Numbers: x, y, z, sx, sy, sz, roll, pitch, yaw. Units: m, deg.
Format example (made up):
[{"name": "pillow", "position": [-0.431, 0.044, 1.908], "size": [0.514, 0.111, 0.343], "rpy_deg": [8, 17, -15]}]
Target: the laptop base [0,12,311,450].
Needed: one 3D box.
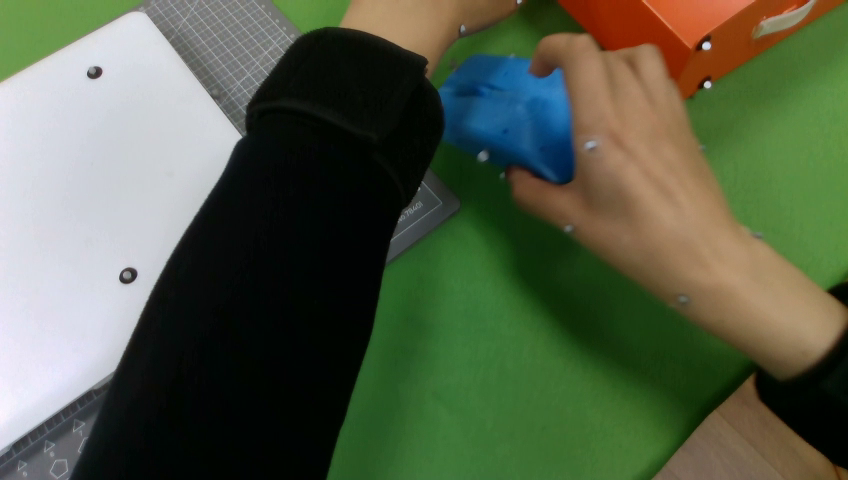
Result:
[{"name": "laptop base", "position": [-0.275, 0.014, 0.378], "size": [0.354, 0.023, 0.234], "rpy_deg": [-36, 72, -12]}]

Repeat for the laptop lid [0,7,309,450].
[{"name": "laptop lid", "position": [-0.274, 0.011, 0.366], "size": [0.356, 0.013, 0.240], "rpy_deg": [-35, 71, -12]}]

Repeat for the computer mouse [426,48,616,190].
[{"name": "computer mouse", "position": [0.054, -0.080, 0.369], "size": [0.116, 0.041, 0.063], "rpy_deg": [32, 86, 33]}]

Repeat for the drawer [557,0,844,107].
[{"name": "drawer", "position": [0.183, -0.223, 0.425], "size": [0.194, 0.074, 0.210], "rpy_deg": [-31, 67, -9]}]
